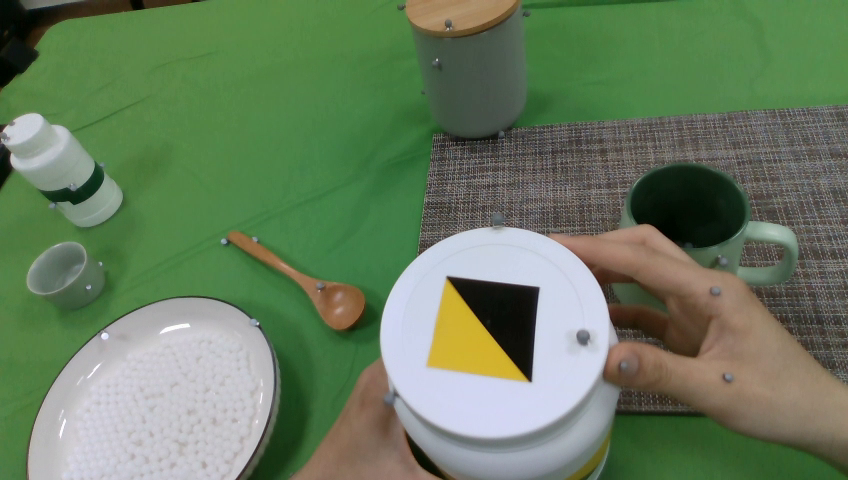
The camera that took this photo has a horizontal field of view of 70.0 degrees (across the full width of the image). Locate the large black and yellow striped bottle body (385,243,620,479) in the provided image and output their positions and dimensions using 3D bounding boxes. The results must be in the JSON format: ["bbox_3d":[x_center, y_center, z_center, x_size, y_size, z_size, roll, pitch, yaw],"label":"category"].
[{"bbox_3d":[0.050,0.091,0.376,0.130,0.186,0.129,-6,57,9],"label":"large black and yellow striped bottle body"}]

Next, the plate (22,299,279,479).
[{"bbox_3d":[-0.214,0.145,0.492,0.209,0.038,0.207,-6,54,8],"label":"plate"}]

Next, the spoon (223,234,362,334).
[{"bbox_3d":[-0.128,0.032,0.564,0.192,0.022,0.041,28,81,28],"label":"spoon"}]

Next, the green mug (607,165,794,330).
[{"bbox_3d":[0.202,0.009,0.449,0.125,0.106,0.092,6,56,17],"label":"green mug"}]

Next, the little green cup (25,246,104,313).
[{"bbox_3d":[-0.352,0.041,0.597,0.061,0.039,0.061,-6,53,9],"label":"little green cup"}]

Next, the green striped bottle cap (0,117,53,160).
[{"bbox_3d":[-0.388,-0.098,0.590,0.044,0.020,0.044,-4,56,7],"label":"green striped bottle cap"}]

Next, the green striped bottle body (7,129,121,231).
[{"bbox_3d":[-0.378,-0.067,0.630,0.063,0.120,0.062,-6,53,9],"label":"green striped bottle body"}]

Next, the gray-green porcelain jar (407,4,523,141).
[{"bbox_3d":[0.044,-0.172,0.605,0.106,0.128,0.105,-6,50,8],"label":"gray-green porcelain jar"}]

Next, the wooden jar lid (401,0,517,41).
[{"bbox_3d":[0.033,-0.212,0.557,0.108,0.021,0.107,-8,51,11],"label":"wooden jar lid"}]

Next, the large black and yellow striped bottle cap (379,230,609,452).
[{"bbox_3d":[0.034,0.047,0.306,0.115,0.019,0.114,-6,57,10],"label":"large black and yellow striped bottle cap"}]
